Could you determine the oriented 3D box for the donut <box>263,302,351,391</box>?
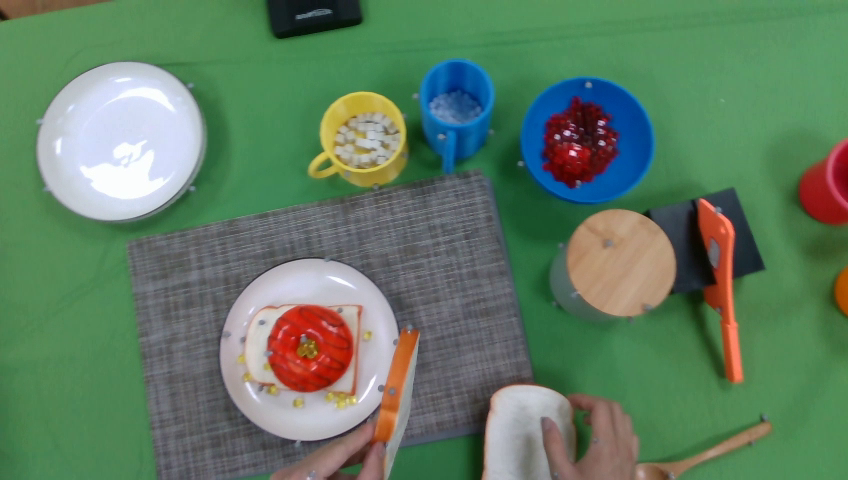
[{"bbox_3d":[-0.130,0.118,0.675,0.099,0.048,0.098,0,81,-2],"label":"donut"}]

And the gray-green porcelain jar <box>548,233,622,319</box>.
[{"bbox_3d":[0.198,0.034,0.673,0.106,0.127,0.105,0,80,1],"label":"gray-green porcelain jar"}]

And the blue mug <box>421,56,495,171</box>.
[{"bbox_3d":[0.036,-0.139,0.717,0.082,0.106,0.116,10,80,3],"label":"blue mug"}]

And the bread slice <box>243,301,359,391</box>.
[{"bbox_3d":[-0.144,0.122,0.707,0.131,0.019,0.104,2,79,-2],"label":"bread slice"}]

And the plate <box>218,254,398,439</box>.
[{"bbox_3d":[-0.131,0.120,0.703,0.209,0.038,0.208,0,80,1],"label":"plate"}]

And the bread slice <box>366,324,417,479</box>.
[{"bbox_3d":[-0.029,0.146,0.566,0.018,0.106,0.135,12,117,3],"label":"bread slice"}]

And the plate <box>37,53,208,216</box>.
[{"bbox_3d":[-0.369,-0.128,0.754,0.208,0.039,0.207,0,80,1],"label":"plate"}]

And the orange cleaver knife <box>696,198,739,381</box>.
[{"bbox_3d":[0.332,0.057,0.689,0.012,0.076,0.212,-13,106,-1],"label":"orange cleaver knife"}]

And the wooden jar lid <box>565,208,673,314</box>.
[{"bbox_3d":[0.195,0.021,0.612,0.108,0.021,0.108,0,82,-2],"label":"wooden jar lid"}]

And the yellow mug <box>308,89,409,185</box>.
[{"bbox_3d":[-0.083,-0.116,0.734,0.131,0.064,0.099,-32,80,-3],"label":"yellow mug"}]

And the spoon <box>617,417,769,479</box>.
[{"bbox_3d":[0.308,0.243,0.687,0.194,0.022,0.041,-22,63,-3],"label":"spoon"}]

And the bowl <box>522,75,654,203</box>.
[{"bbox_3d":[0.187,-0.109,0.723,0.151,0.077,0.151,0,80,1],"label":"bowl"}]
